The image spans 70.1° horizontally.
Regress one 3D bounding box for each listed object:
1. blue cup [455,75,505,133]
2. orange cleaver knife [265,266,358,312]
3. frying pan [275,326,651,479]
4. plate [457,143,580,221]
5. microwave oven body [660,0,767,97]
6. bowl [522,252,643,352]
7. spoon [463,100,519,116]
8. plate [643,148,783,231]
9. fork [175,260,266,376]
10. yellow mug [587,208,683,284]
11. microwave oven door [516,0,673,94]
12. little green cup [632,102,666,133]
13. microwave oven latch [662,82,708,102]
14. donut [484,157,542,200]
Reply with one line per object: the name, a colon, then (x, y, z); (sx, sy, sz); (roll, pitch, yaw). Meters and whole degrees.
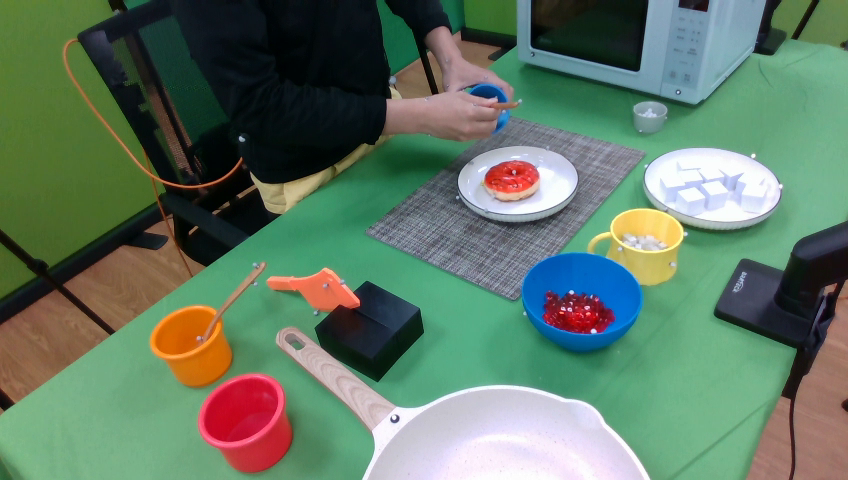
blue cup: (0.094, -0.228, 1.065); (0.093, 0.092, 0.100); (-9, -1, -1)
orange cleaver knife: (-0.164, 0.073, 0.864); (0.210, 0.077, 0.012); (-6, 30, 50)
frying pan: (0.003, 0.229, 0.641); (0.484, 0.103, 0.308); (34, 54, 28)
plate: (0.162, -0.097, 1.042); (0.209, 0.038, 0.208); (-4, 40, 4)
microwave oven body: (0.473, -0.516, 1.313); (0.438, 0.261, 0.327); (26, 51, 34)
bowl: (0.204, 0.093, 0.791); (0.151, 0.077, 0.150); (-4, 40, 4)
spoon: (0.106, -0.217, 0.990); (0.042, 0.022, 0.192); (-27, 12, -13)
plate: (0.464, -0.080, 0.985); (0.207, 0.039, 0.206); (-4, 41, 4)
fork: (-0.268, 0.103, 0.792); (0.207, 0.019, 0.028); (-51, 41, 16)
yellow mug: (0.305, 0.009, 0.884); (0.131, 0.064, 0.099); (-4, 40, 5)
microwave oven door: (0.344, -0.458, 1.256); (0.353, 0.245, 0.039); (26, 52, 33)
little green cup: (0.434, -0.237, 1.171); (0.061, 0.039, 0.061); (-5, 40, 5)
microwave oven latch: (0.518, -0.299, 1.203); (0.078, 0.029, 0.030); (29, 53, 36)
donut: (0.153, -0.107, 1.039); (0.099, 0.048, 0.098); (-6, 37, 5)
